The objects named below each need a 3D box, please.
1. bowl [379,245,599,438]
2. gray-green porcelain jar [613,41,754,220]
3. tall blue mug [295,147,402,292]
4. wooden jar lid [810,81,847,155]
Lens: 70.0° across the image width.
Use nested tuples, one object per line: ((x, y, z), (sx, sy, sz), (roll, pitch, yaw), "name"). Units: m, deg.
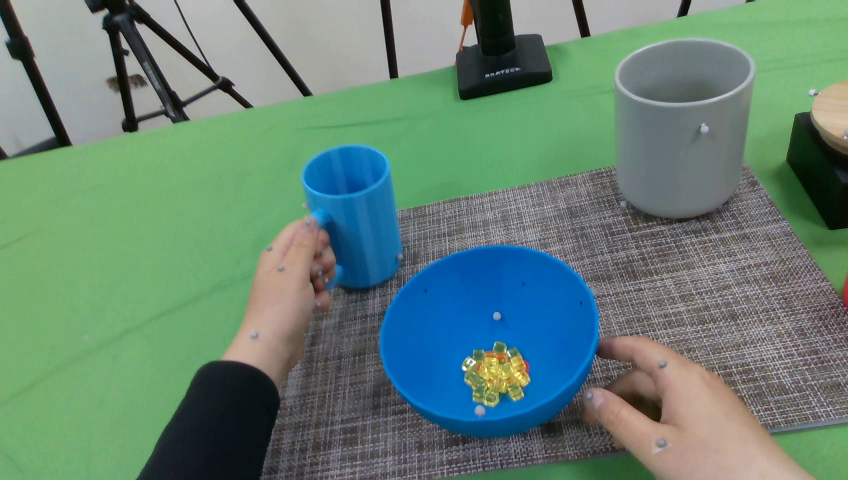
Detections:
((0.050, 0.083, 0.434), (0.151, 0.077, 0.150), (-9, 42, 9), "bowl")
((0.220, -0.089, 0.526), (0.106, 0.128, 0.105), (-10, 42, 9), "gray-green porcelain jar")
((-0.064, -0.008, 0.541), (0.078, 0.109, 0.106), (0, 43, 5), "tall blue mug")
((0.375, -0.097, 0.491), (0.108, 0.021, 0.107), (-10, 42, 10), "wooden jar lid")
